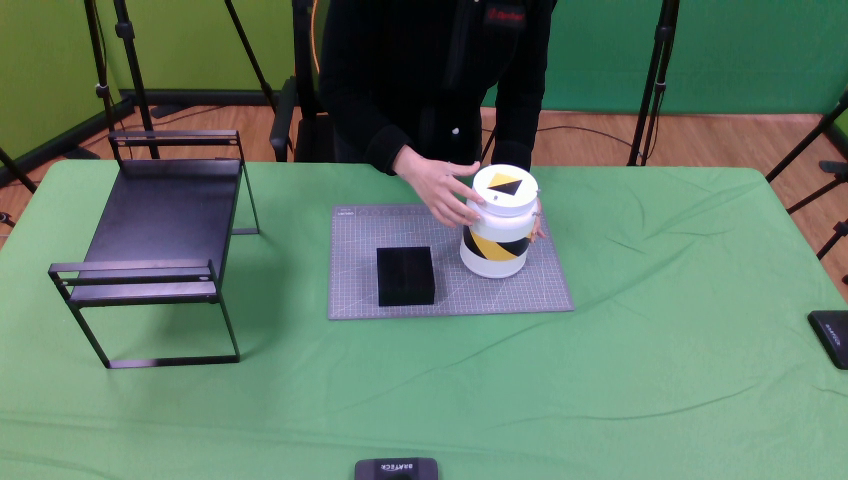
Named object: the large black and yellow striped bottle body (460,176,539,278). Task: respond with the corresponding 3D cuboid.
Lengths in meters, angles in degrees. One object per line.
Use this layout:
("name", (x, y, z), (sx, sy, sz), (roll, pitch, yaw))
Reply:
("large black and yellow striped bottle body", (0.139, -0.033, 1.121), (0.131, 0.185, 0.130), (2, 46, -2))

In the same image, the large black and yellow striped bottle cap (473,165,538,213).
("large black and yellow striped bottle cap", (0.142, -0.091, 1.060), (0.115, 0.019, 0.114), (2, 44, -2))
